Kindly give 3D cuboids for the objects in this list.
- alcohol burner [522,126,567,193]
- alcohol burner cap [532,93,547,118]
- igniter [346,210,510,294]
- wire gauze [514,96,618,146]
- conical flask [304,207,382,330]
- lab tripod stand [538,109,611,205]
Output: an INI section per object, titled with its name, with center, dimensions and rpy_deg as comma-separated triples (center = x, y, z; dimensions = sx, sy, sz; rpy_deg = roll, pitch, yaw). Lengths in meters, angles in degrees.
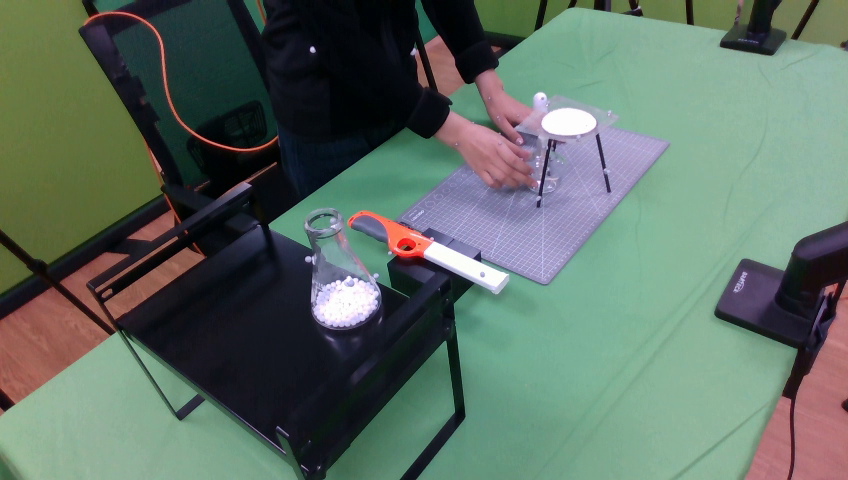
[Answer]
[alcohol burner]
center = 0.206, -0.141, 1.035
dimensions = 0.078, 0.119, 0.077
rpy_deg = -4, 39, 4
[alcohol burner cap]
center = 0.240, -0.281, 1.251
dimensions = 0.034, 0.048, 0.033
rpy_deg = -4, 42, 4
[igniter]
center = -0.002, 0.012, 0.884
dimensions = 0.274, 0.025, 0.057
rpy_deg = 24, 53, 28
[wire gauze]
center = 0.229, -0.190, 0.969
dimensions = 0.120, 0.011, 0.125
rpy_deg = 26, 50, 33
[conical flask]
center = -0.088, 0.025, 0.601
dimensions = 0.075, 0.122, 0.075
rpy_deg = -5, 40, 5
[lab tripod stand]
center = 0.244, -0.141, 1.014
dimensions = 0.148, 0.132, 0.147
rpy_deg = -3, 39, 3
